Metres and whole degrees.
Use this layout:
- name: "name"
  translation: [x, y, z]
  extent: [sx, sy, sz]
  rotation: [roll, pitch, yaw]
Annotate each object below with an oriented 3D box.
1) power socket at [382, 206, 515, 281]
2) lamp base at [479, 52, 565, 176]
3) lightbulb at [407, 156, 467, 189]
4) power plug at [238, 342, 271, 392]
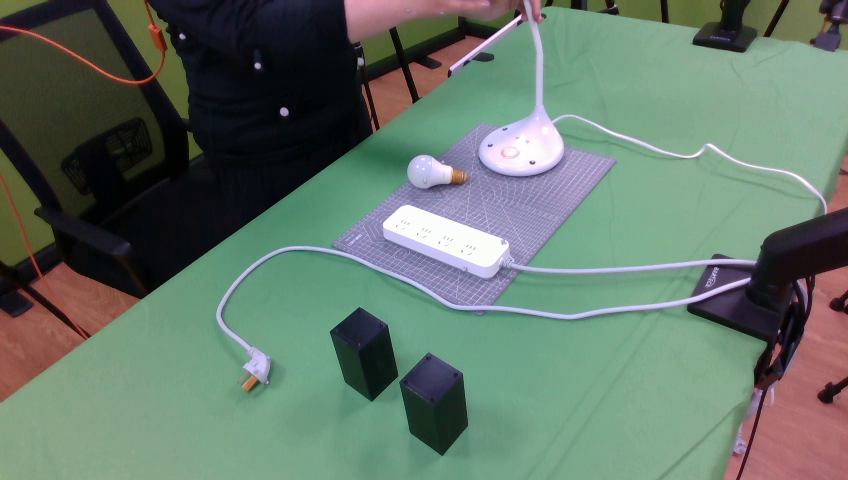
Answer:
- name: "power socket"
  translation: [0.032, 0.002, 0.950]
  extent: [0.225, 0.033, 0.072]
  rotation: [21, 49, 29]
- name: "lamp base"
  translation: [0.181, -0.235, 1.093]
  extent: [0.159, 0.181, 0.179]
  rotation: [18, 44, 27]
- name: "lightbulb"
  translation: [0.023, -0.117, 1.081]
  extent: [0.108, 0.059, 0.059]
  rotation: [8, 40, -7]
- name: "power plug"
  translation: [-0.230, 0.172, 0.801]
  extent: [0.072, 0.035, 0.053]
  rotation: [10, 51, 50]
